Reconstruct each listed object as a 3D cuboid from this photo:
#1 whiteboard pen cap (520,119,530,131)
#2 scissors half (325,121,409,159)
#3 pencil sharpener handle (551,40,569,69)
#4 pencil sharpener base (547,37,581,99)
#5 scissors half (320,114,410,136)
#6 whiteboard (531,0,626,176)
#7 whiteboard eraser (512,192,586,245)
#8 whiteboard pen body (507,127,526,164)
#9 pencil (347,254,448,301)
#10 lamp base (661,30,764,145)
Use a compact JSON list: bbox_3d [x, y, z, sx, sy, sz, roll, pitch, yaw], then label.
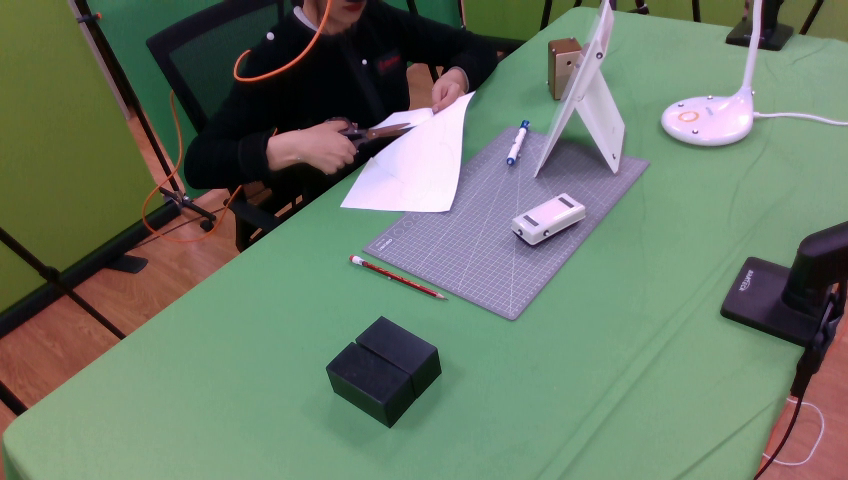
[{"bbox_3d":[0.200,-0.226,1.204,0.018,0.018,0.033,6,42,17],"label":"whiteboard pen cap"},{"bbox_3d":[-0.110,-0.200,1.187,0.175,0.040,0.012,-23,23,4],"label":"scissors half"},{"bbox_3d":[0.291,-0.409,1.321,0.036,0.068,0.030,2,40,-6],"label":"pencil sharpener handle"},{"bbox_3d":[0.299,-0.368,1.290,0.061,0.107,0.076,-8,40,2],"label":"pencil sharpener base"},{"bbox_3d":[-0.114,-0.220,1.178,0.176,0.040,0.013,3,27,-8],"label":"scissors half"},{"bbox_3d":[0.320,-0.258,1.050,0.144,0.306,0.217,22,45,5],"label":"whiteboard"},{"bbox_3d":[0.199,-0.032,0.962,0.113,0.042,0.055,-27,43,-20],"label":"whiteboard eraser"},{"bbox_3d":[0.181,-0.189,1.163,0.017,0.017,0.140,7,42,19],"label":"whiteboard pen body"},{"bbox_3d":[-0.044,0.058,0.933,0.192,0.012,0.012,22,49,28],"label":"pencil"},{"bbox_3d":[0.535,-0.287,1.096,0.179,0.181,0.159,-10,40,-4],"label":"lamp base"}]
